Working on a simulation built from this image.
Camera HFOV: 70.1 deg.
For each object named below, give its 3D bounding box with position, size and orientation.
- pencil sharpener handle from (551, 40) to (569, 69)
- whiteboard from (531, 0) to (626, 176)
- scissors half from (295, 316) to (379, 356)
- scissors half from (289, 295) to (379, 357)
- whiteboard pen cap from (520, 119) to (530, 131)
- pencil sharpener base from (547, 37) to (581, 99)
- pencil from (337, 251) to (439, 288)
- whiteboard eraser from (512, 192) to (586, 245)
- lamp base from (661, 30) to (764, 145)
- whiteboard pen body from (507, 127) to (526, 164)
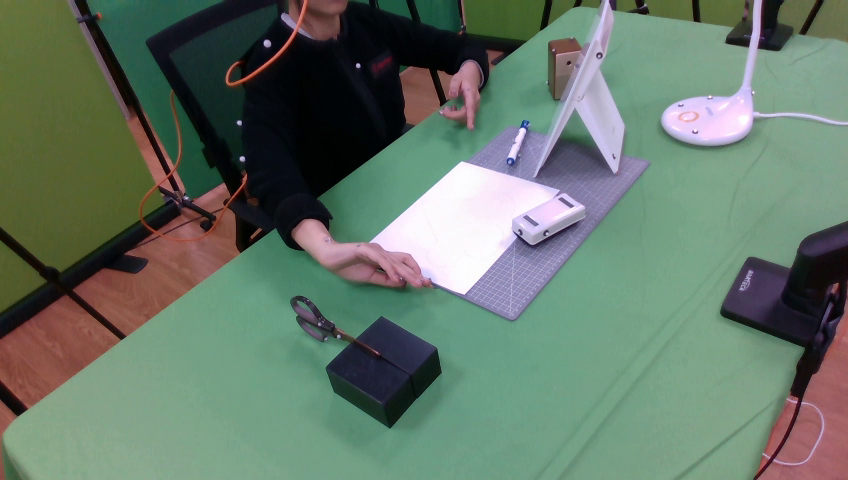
[{"bbox_3d":[0.291,-0.409,1.320,0.036,0.068,0.030,2,40,-6],"label":"pencil sharpener handle"},{"bbox_3d":[0.320,-0.258,1.050,0.144,0.306,0.217,22,45,5],"label":"whiteboard"},{"bbox_3d":[-0.119,0.131,0.813,0.173,0.040,0.013,9,34,45],"label":"scissors half"},{"bbox_3d":[-0.122,0.114,0.803,0.174,0.040,0.013,26,50,32],"label":"scissors half"},{"bbox_3d":[0.199,-0.226,1.204,0.018,0.018,0.033,7,41,18],"label":"whiteboard pen cap"},{"bbox_3d":[0.299,-0.368,1.290,0.061,0.107,0.076,-8,40,2],"label":"pencil sharpener base"},{"bbox_3d":[-0.058,0.044,0.923,0.192,0.012,0.012,17,47,30],"label":"pencil"},{"bbox_3d":[0.199,-0.032,0.962,0.113,0.042,0.055,-27,43,-20],"label":"whiteboard eraser"},{"bbox_3d":[0.535,-0.287,1.096,0.179,0.181,0.159,-10,40,-4],"label":"lamp base"},{"bbox_3d":[0.181,-0.189,1.162,0.017,0.017,0.140,8,42,19],"label":"whiteboard pen body"}]
